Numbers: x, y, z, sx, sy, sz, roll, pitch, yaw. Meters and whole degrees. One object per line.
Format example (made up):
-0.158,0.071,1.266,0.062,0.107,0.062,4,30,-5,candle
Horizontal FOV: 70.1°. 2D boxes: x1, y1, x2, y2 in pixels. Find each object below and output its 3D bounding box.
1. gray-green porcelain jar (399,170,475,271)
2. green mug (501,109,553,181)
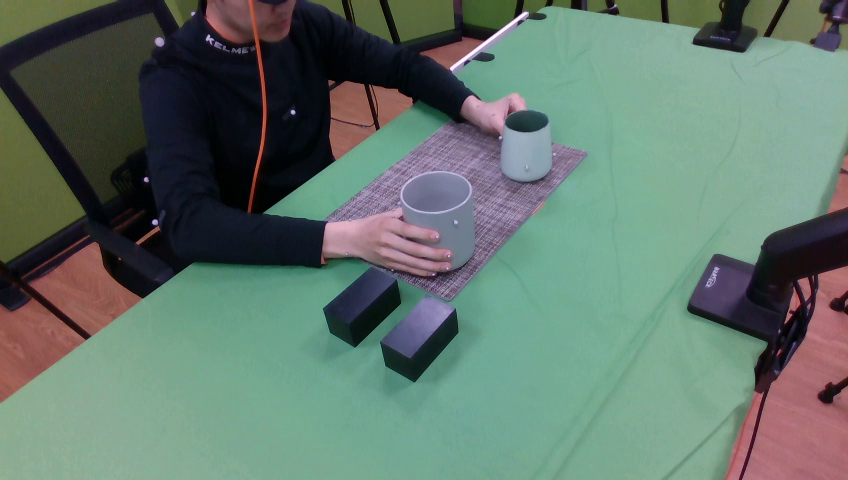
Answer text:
0.023,-0.025,0.907,0.106,0.127,0.105,-4,41,4,gray-green porcelain jar
0.177,-0.176,1.079,0.093,0.105,0.124,-13,41,-6,green mug
